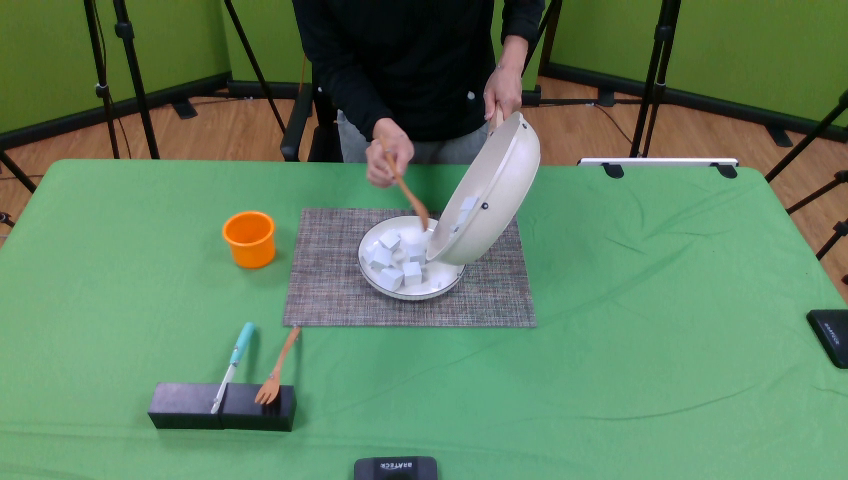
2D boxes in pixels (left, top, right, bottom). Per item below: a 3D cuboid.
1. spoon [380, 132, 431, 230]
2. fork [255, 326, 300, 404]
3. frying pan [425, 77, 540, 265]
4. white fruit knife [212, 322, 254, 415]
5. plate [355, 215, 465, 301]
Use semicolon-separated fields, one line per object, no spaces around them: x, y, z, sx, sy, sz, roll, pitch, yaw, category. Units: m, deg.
-0.032;-0.102;1.063;0.021;0.194;0.041;-23;20;22;spoon
-0.226;0.192;0.955;0.028;0.019;0.206;-3;27;6;fork
0.120;-0.154;1.095;0.103;0.307;0.485;25;48;-14;frying pan
-0.298;0.193;0.947;0.016;0.027;0.206;2;31;-1;white fruit knife
-0.025;0.038;1.144;0.208;0.039;0.206;3;46;-2;plate
